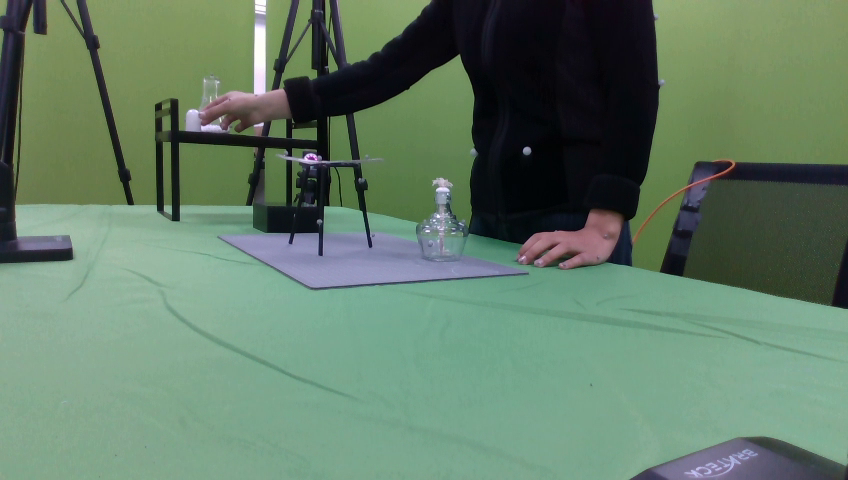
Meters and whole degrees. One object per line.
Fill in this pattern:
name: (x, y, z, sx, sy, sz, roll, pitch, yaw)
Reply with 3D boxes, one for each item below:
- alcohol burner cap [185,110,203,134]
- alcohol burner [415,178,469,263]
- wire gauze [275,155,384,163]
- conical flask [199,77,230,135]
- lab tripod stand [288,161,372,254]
alcohol burner cap: (-0.469, -0.242, 1.234, 0.034, 0.048, 0.034, 4, 9, 0)
alcohol burner: (0.026, -0.028, 0.863, 0.078, 0.119, 0.078, 1, 6, 0)
wire gauze: (-0.142, -0.118, 0.900, 0.122, 0.011, 0.124, -3, 8, -37)
conical flask: (-0.461, -0.292, 1.317, 0.075, 0.122, 0.075, 2, 7, 0)
lab tripod stand: (-0.147, -0.052, 0.909, 0.148, 0.131, 0.148, 1, 8, 0)
